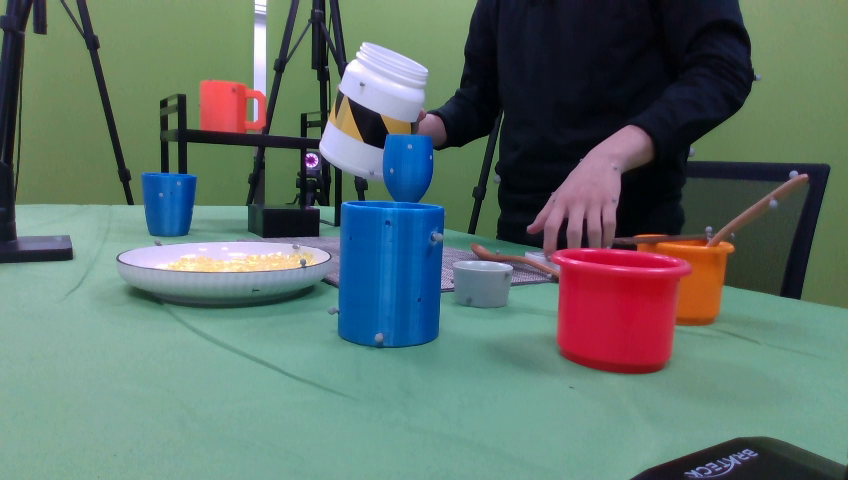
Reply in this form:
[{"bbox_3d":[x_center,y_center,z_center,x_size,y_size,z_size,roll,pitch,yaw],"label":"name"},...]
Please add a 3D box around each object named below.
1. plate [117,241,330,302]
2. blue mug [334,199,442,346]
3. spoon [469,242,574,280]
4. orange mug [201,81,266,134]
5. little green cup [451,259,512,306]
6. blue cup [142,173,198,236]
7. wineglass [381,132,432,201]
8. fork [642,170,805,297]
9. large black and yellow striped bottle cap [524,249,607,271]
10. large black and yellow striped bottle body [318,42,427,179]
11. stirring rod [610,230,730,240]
[{"bbox_3d":[-0.203,0.031,0.630,0.209,0.038,0.209,3,7,0],"label":"plate"},{"bbox_3d":[-0.034,0.020,0.498,0.083,0.106,0.116,0,7,-20],"label":"blue mug"},{"bbox_3d":[0.124,0.025,0.800,0.042,0.021,0.192,22,-5,-34],"label":"spoon"},{"bbox_3d":[-0.376,-0.260,1.198,0.126,0.101,0.083,-3,8,-6],"label":"orange mug"},{"bbox_3d":[0.057,0.043,0.611,0.061,0.038,0.061,3,8,0],"label":"little green cup"},{"bbox_3d":[-0.425,-0.060,1.014,0.093,0.100,0.092,4,9,0],"label":"blue cup"},{"bbox_3d":[-0.026,-0.061,0.841,0.074,0.172,0.073,2,7,0],"label":"wineglass"},{"bbox_3d":[0.261,0.004,0.545,0.028,0.018,0.207,5,-37,-15],"label":"fork"},{"bbox_3d":[0.198,0.027,0.851,0.115,0.019,0.115,5,4,0],"label":"large black and yellow striped bottle cap"},{"bbox_3d":[-0.079,-0.203,0.954,0.131,0.183,0.130,21,21,-8],"label":"large black and yellow striped bottle body"},{"bbox_3d":[0.241,-0.005,0.581,0.177,0.006,0.014,-2,10,-34],"label":"stirring rod"}]
